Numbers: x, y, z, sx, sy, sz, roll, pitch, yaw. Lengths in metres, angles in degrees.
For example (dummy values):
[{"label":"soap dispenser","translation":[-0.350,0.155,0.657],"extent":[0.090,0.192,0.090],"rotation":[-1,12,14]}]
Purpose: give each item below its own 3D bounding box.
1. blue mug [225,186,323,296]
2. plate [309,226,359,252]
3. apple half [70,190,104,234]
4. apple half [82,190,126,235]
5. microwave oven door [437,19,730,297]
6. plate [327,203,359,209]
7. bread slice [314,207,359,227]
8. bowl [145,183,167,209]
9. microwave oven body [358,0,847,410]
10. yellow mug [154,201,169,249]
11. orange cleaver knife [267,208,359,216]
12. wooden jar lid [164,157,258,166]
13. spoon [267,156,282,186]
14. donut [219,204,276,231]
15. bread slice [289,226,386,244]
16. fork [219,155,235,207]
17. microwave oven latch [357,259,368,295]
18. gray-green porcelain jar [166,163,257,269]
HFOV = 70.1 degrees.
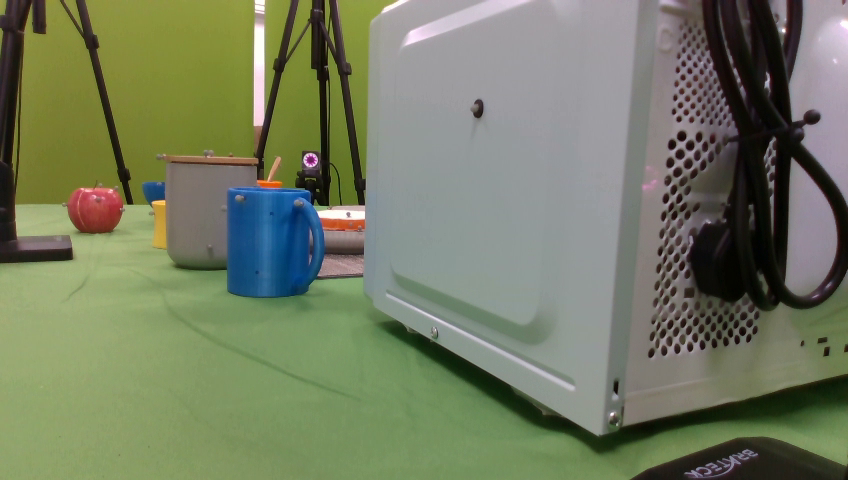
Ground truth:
[{"label":"blue mug","translation":[-0.148,0.000,0.618],"extent":[0.116,0.106,0.083],"rotation":[7,9,33]},{"label":"plate","translation":[-0.130,-0.011,0.945],"extent":[0.208,0.039,0.207],"rotation":[2,8,0]},{"label":"apple half","translation":[-0.552,-0.047,1.010],"extent":[0.053,0.074,0.081],"rotation":[-1,10,26]},{"label":"apple half","translation":[-0.517,-0.046,0.994],"extent":[0.032,0.081,0.081],"rotation":[0,6,26]},{"label":"microwave oven door","translation":[0.181,-0.076,0.618],"extent":[0.358,0.243,0.039],"rotation":[-2,9,-28]},{"label":"plate","translation":[-0.102,-0.053,1.299],"extent":[0.209,0.038,0.209],"rotation":[2,8,0]},{"label":"bread slice","translation":[-0.127,-0.036,0.933],"extent":[0.134,0.018,0.107],"rotation":[5,11,27]},{"label":"bowl","translation":[-0.459,-0.068,1.175],"extent":[0.151,0.077,0.151],"rotation":[3,7,0]},{"label":"microwave oven body","translation":[0.210,-0.051,0.471],"extent":[0.444,0.260,0.324],"rotation":[-1,7,-28]},{"label":"yellow mug","translation":[-0.338,-0.022,0.899],"extent":[0.130,0.064,0.100],"rotation":[8,9,34]},{"label":"orange cleaver knife","translation":[-0.259,-0.064,1.423],"extent":[0.212,0.012,0.077],"rotation":[-4,3,-30]},{"label":"wooden jar lid","translation":[-0.261,-0.093,0.746],"extent":[0.108,0.020,0.108],"rotation":[0,9,0]},{"label":"spoon","translation":[-0.391,-0.150,1.548],"extent":[0.041,0.193,0.021],"rotation":[3,-37,7]},{"label":"donut","translation":[-0.316,-0.039,1.083],"extent":[0.099,0.048,0.099],"rotation":[2,7,0]},{"label":"bread slice","translation":[-0.125,-0.008,0.938],"extent":[0.131,0.019,0.105],"rotation":[5,7,31]},{"label":"fork","translation":[-0.459,-0.134,1.415],"extent":[0.028,0.018,0.207],"rotation":[-1,-34,-24]},{"label":"microwave oven latch","translation":[-0.019,0.031,0.529],"extent":[0.079,0.029,0.030],"rotation":[-1,7,-26]},{"label":"gray-green porcelain jar","translation":[-0.263,-0.031,0.754],"extent":[0.106,0.126,0.106],"rotation":[2,7,0]}]
